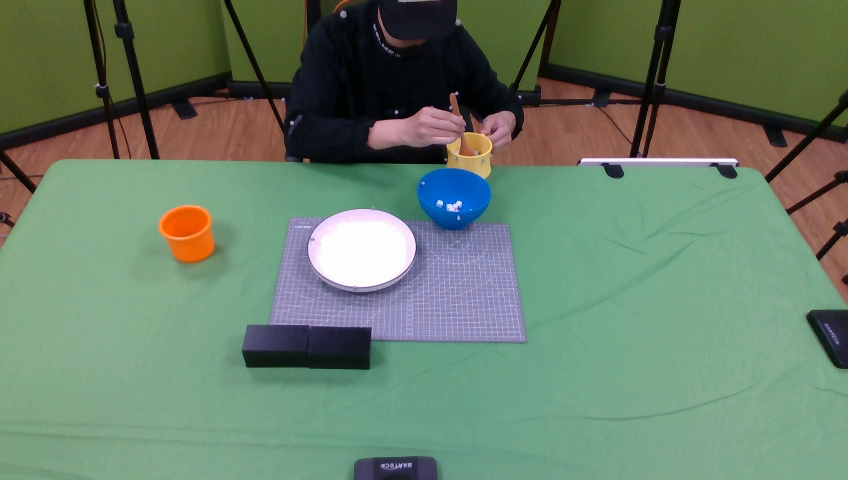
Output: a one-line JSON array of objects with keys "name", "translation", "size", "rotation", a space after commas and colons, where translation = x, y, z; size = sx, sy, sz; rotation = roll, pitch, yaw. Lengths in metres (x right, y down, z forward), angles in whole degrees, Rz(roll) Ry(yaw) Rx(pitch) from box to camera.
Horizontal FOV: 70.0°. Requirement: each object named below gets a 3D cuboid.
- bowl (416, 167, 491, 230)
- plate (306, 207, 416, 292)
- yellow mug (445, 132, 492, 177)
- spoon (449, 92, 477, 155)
[{"name": "bowl", "translation": [0.057, -0.074, 1.231], "size": [0.151, 0.077, 0.150], "rotation": [2, 42, -2]}, {"name": "plate", "translation": [-0.119, 0.021, 1.153], "size": [0.209, 0.038, 0.208], "rotation": [2, 46, -2]}, {"name": "yellow mug", "translation": [0.103, -0.190, 1.318], "size": [0.099, 0.064, 0.130], "rotation": [21, 45, 23]}, {"name": "spoon", "translation": [0.076, -0.225, 1.250], "size": [0.041, 0.195, 0.021], "rotation": [-7, 45, 14]}]
